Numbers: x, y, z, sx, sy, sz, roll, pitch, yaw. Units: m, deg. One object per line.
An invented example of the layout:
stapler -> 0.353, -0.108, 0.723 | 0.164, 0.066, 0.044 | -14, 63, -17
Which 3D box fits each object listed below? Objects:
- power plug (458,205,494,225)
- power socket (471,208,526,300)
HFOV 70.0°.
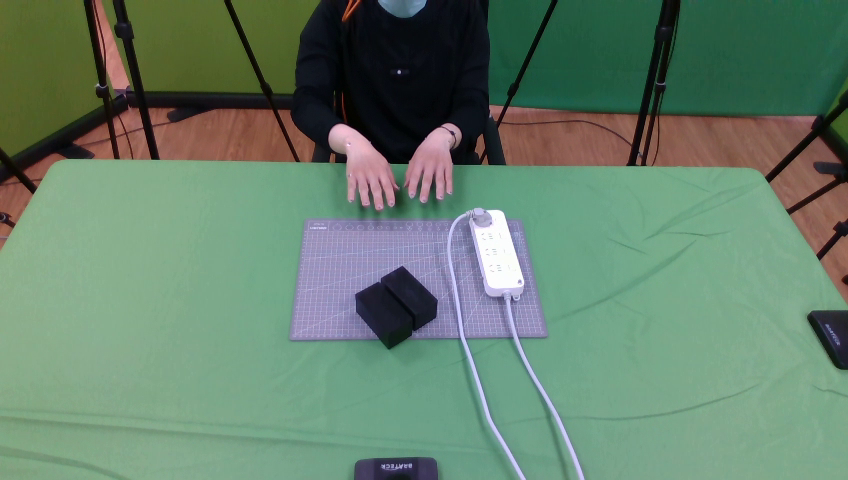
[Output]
power plug -> 0.104, -0.046, 1.206 | 0.072, 0.053, 0.035 | 2, 47, 6
power socket -> 0.141, 0.019, 1.172 | 0.072, 0.033, 0.225 | -3, 47, -5
